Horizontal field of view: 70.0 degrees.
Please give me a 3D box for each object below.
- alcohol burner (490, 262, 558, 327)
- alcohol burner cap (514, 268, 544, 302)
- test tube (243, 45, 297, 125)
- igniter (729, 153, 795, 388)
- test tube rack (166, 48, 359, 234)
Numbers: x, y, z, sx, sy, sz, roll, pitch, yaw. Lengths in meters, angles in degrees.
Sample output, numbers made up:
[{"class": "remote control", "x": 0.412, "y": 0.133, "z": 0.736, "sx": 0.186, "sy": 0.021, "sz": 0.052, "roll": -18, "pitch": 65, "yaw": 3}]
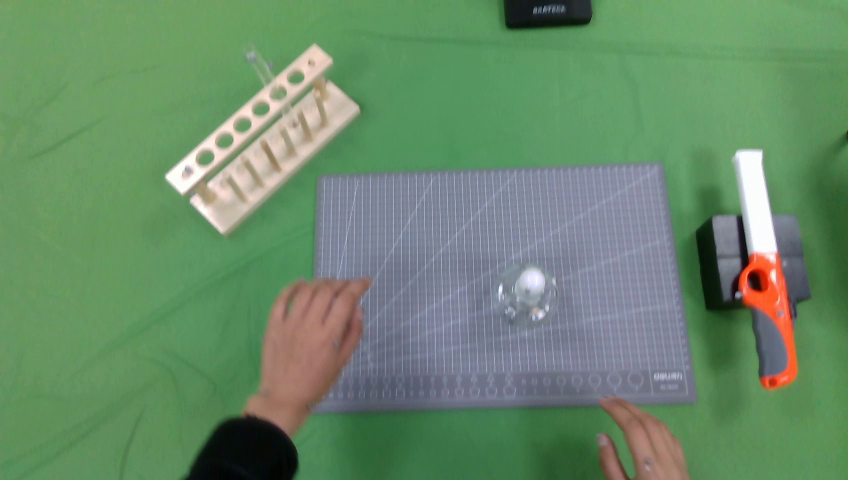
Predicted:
[{"class": "alcohol burner", "x": 0.115, "y": 0.057, "z": 0.685, "sx": 0.078, "sy": 0.120, "sz": 0.077, "roll": 0, "pitch": 70, "yaw": 0}, {"class": "alcohol burner cap", "x": 0.115, "y": 0.047, "z": 0.651, "sx": 0.034, "sy": 0.048, "sz": 0.033, "roll": -1, "pitch": 74, "yaw": 5}, {"class": "test tube", "x": -0.183, "y": -0.183, "z": 0.734, "sx": 0.017, "sy": 0.151, "sz": 0.017, "roll": -2, "pitch": 70, "yaw": 7}, {"class": "igniter", "x": 0.381, "y": 0.027, "z": 0.687, "sx": 0.057, "sy": 0.025, "sz": 0.274, "roll": 1, "pitch": 70, "yaw": 4}, {"class": "test tube rack", "x": -0.196, "y": -0.124, "z": 0.768, "sx": 0.066, "sy": 0.086, "sz": 0.242, "roll": 42, "pitch": 78, "yaw": 14}]
